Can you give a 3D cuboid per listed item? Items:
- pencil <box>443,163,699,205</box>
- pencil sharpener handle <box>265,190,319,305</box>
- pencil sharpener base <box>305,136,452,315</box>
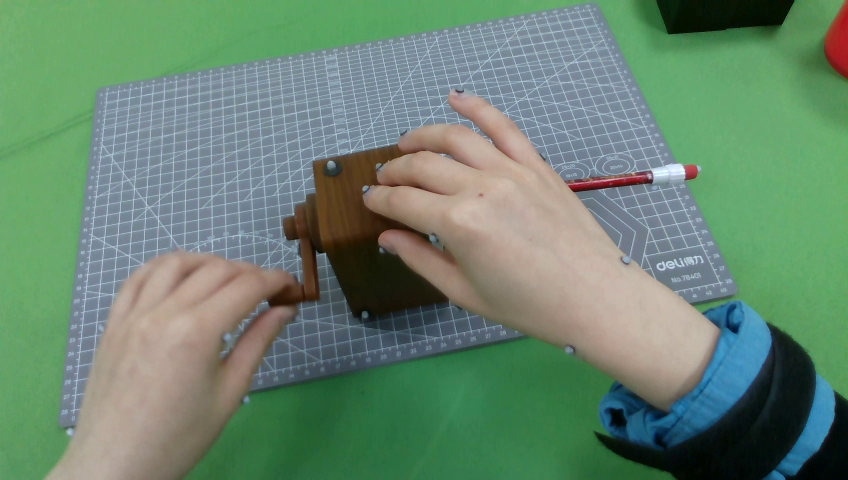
[{"bbox_3d":[0.070,-0.031,0.361,0.194,0.012,0.012,-7,60,-5],"label":"pencil"},{"bbox_3d":[-0.075,0.004,0.343,0.030,0.036,0.067,-11,58,-2],"label":"pencil sharpener handle"},{"bbox_3d":[-0.026,-0.004,0.378,0.077,0.108,0.061,-11,60,-2],"label":"pencil sharpener base"}]
